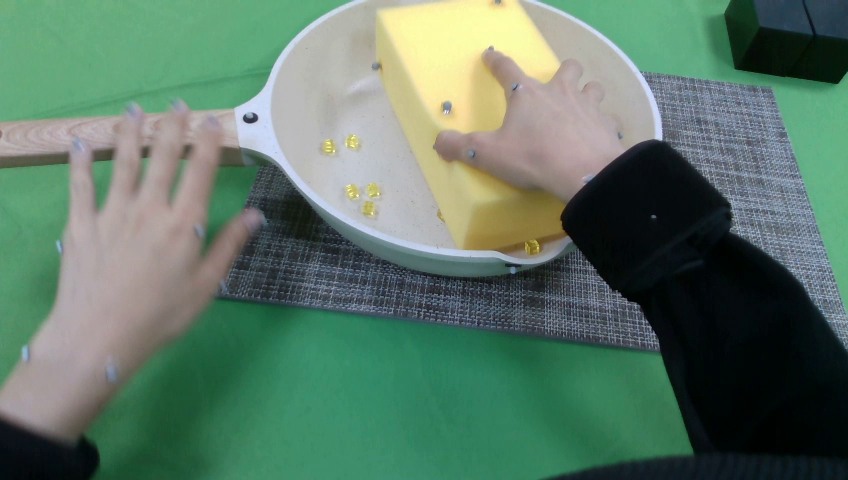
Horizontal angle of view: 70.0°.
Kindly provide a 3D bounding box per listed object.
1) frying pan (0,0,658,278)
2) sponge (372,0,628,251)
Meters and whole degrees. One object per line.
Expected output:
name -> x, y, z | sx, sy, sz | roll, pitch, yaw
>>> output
frying pan -> -0.073, -0.079, 0.441 | 0.490, 0.103, 0.303 | -5, 53, -18
sponge -> 0.046, -0.095, 0.465 | 0.118, 0.061, 0.204 | -16, 57, -14
